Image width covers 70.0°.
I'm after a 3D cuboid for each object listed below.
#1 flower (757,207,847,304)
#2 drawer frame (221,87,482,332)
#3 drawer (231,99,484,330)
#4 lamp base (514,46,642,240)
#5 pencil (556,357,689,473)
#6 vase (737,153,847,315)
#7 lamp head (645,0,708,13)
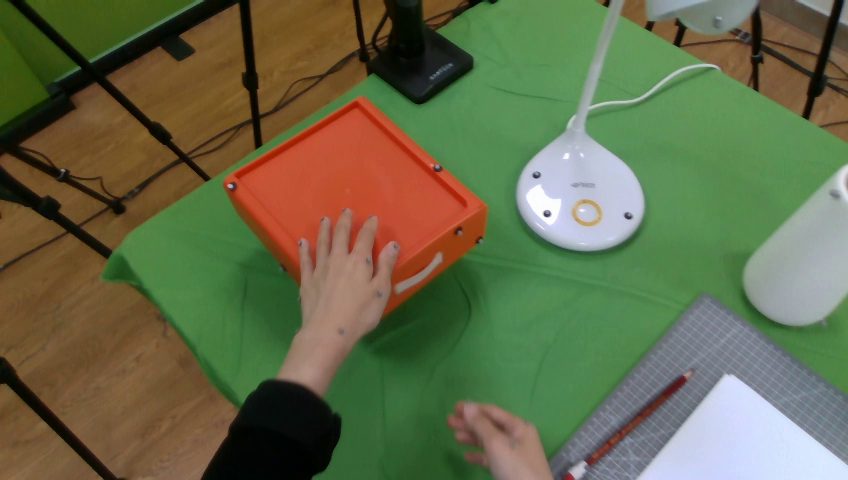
[{"bbox_3d":[0.419,-0.053,0.557,0.038,0.364,0.044,29,45,11],"label":"flower"},{"bbox_3d":[-0.078,-0.040,0.678,0.201,0.083,0.212,-38,67,-19],"label":"drawer frame"},{"bbox_3d":[-0.073,-0.038,0.675,0.194,0.074,0.210,-37,64,-18],"label":"drawer"},{"bbox_3d":[0.189,-0.119,0.711,0.161,0.182,0.177,-9,56,-4],"label":"lamp base"},{"bbox_3d":[0.209,0.177,0.626,0.194,0.012,0.012,-32,62,-19],"label":"pencil"},{"bbox_3d":[0.403,-0.003,0.623,0.098,0.202,0.097,-1,57,2],"label":"vase"},{"bbox_3d":[0.210,-0.239,0.444,0.112,0.112,0.123,-16,97,-8],"label":"lamp head"}]
